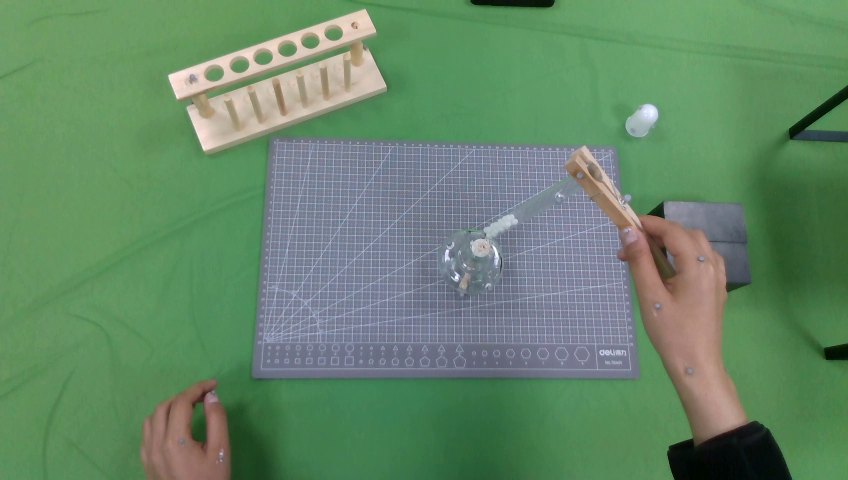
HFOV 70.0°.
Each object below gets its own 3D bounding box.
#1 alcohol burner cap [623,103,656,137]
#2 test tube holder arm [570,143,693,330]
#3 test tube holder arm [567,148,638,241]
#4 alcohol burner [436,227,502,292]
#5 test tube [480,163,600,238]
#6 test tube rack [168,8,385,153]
[{"bbox_3d":[0.285,-0.159,0.795,0.034,0.048,0.033,1,73,-3],"label":"alcohol burner cap"},{"bbox_3d":[0.174,-0.002,0.503,0.178,0.015,0.013,57,35,-5],"label":"test tube holder arm"},{"bbox_3d":[0.146,-0.036,0.492,0.088,0.015,0.010,50,35,-14],"label":"test tube holder arm"},{"bbox_3d":[0.053,0.018,0.684,0.078,0.119,0.077,1,75,-5],"label":"alcohol burner"},{"bbox_3d":[0.099,-0.031,0.547,0.017,0.150,0.017,13,64,-29],"label":"test tube"},{"bbox_3d":[-0.171,-0.194,0.741,0.242,0.085,0.066,-23,77,-11],"label":"test tube rack"}]
